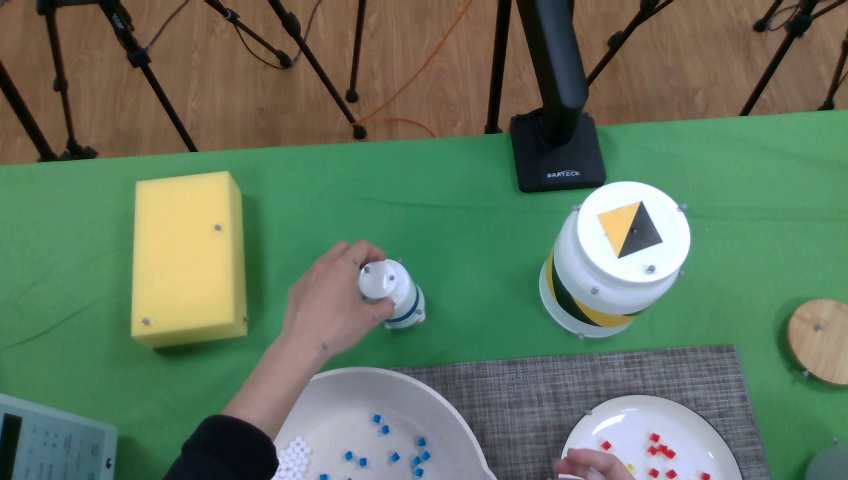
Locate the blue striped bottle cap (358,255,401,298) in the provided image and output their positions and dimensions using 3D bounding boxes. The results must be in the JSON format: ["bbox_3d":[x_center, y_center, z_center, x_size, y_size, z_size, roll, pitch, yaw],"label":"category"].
[{"bbox_3d":[-0.049,0.039,0.653,0.044,0.021,0.044,-3,70,9],"label":"blue striped bottle cap"}]

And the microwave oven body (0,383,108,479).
[{"bbox_3d":[-0.494,0.363,0.507,0.326,0.262,0.438,-3,68,-2],"label":"microwave oven body"}]

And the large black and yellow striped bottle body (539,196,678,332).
[{"bbox_3d":[0.212,0.022,0.700,0.131,0.185,0.130,0,67,0],"label":"large black and yellow striped bottle body"}]

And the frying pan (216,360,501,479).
[{"bbox_3d":[-0.063,0.367,0.594,0.307,0.103,0.483,-5,59,0],"label":"frying pan"}]

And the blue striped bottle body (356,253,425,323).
[{"bbox_3d":[-0.039,0.054,0.701,0.063,0.122,0.062,-3,71,9],"label":"blue striped bottle body"}]

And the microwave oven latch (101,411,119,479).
[{"bbox_3d":[-0.358,0.229,0.667,0.030,0.030,0.078,-1,68,-1],"label":"microwave oven latch"}]

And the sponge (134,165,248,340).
[{"bbox_3d":[-0.293,0.014,0.764,0.118,0.061,0.205,-8,69,-4],"label":"sponge"}]

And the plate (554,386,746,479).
[{"bbox_3d":[0.247,0.269,0.673,0.209,0.038,0.207,0,68,1],"label":"plate"}]

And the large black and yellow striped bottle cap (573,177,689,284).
[{"bbox_3d":[0.212,-0.012,0.620,0.115,0.019,0.114,0,66,0],"label":"large black and yellow striped bottle cap"}]

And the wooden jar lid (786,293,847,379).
[{"bbox_3d":[0.502,0.119,0.750,0.108,0.021,0.107,0,69,0],"label":"wooden jar lid"}]

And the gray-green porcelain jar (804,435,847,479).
[{"bbox_3d":[0.478,0.256,0.636,0.106,0.127,0.105,0,67,0],"label":"gray-green porcelain jar"}]
